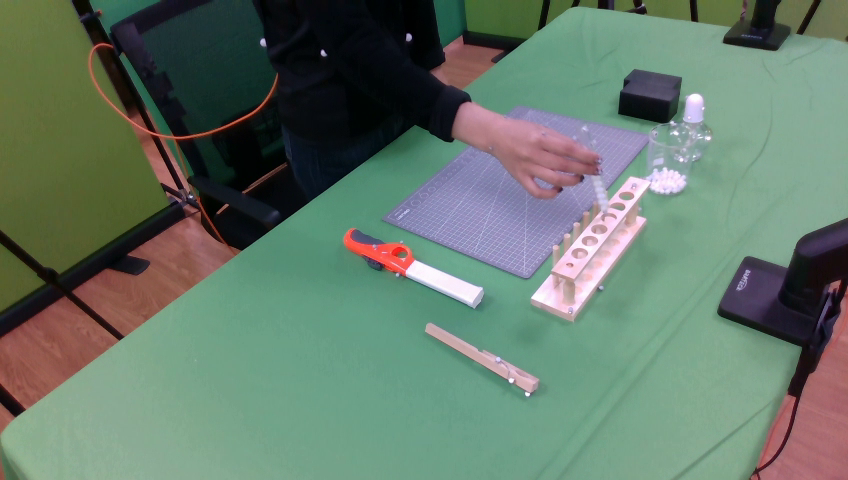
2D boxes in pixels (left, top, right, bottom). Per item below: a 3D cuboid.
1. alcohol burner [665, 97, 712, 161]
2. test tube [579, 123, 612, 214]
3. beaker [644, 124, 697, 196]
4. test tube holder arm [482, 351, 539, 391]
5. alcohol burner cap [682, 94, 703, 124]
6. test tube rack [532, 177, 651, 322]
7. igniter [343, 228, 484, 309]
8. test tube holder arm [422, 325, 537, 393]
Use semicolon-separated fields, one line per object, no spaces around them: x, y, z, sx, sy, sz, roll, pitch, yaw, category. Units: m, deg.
0.465;-0.198;1.057;0.078;0.119;0.077;-4;41;4;alcohol burner
0.230;-0.092;0.805;0.017;0.151;0.017;-17;40;15;test tube
0.407;-0.132;1.001;0.084;0.101;0.073;-20;42;-13;beaker
0.106;0.166;0.769;0.087;0.015;0.010;23;15;34;test tube holder arm
0.460;-0.225;1.033;0.034;0.048;0.033;-8;34;6;alcohol burner cap
0.248;0.002;0.883;0.066;0.085;0.243;22;49;32;test tube rack
-0.028;0.039;0.936;0.274;0.025;0.057;23;60;33;igniter
0.068;0.152;0.789;0.177;0.015;0.013;23;15;32;test tube holder arm
